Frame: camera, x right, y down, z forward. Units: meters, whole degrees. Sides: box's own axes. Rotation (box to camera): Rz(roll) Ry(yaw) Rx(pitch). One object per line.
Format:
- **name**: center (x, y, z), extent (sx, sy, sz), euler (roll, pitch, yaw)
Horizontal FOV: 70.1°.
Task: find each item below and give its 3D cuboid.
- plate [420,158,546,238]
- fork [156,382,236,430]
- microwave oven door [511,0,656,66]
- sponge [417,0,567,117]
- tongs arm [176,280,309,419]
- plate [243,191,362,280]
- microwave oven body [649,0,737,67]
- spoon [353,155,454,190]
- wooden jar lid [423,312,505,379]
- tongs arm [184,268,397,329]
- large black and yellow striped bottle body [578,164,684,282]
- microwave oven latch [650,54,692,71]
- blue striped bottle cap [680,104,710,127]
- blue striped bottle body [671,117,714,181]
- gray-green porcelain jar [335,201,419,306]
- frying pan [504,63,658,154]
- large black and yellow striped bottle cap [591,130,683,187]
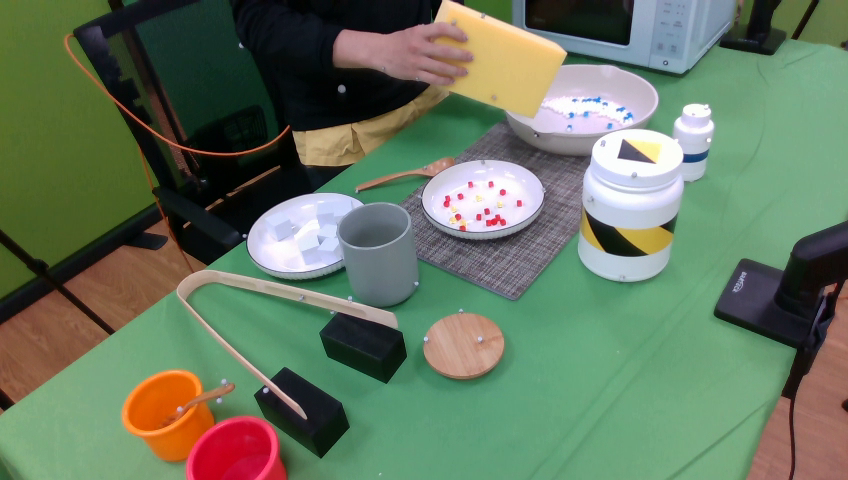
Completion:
- **plate**: center (0.099, -0.067, 1.017), extent (0.209, 0.038, 0.208), euler (-4, 40, 4)
- **fork**: center (-0.262, 0.189, 0.690), extent (0.018, 0.206, 0.028), euler (49, 43, -7)
- **microwave oven door**: center (0.351, -0.539, 1.349), extent (0.353, 0.245, 0.039), euler (24, 50, 31)
- **sponge**: center (0.107, -0.291, 0.975), extent (0.208, 0.118, 0.060), euler (14, 30, -17)
- **tongs arm**: center (-0.254, 0.133, 0.801), extent (0.028, 0.028, 0.384), euler (-41, 40, -23)
- **plate**: center (-0.188, -0.005, 0.992), extent (0.207, 0.039, 0.206), euler (-3, 41, 3)
- **microwave oven body**: center (0.475, -0.602, 1.411), extent (0.438, 0.261, 0.327), euler (23, 50, 32)
- **spoon**: center (-0.038, -0.123, 1.116), extent (0.194, 0.022, 0.041), euler (-12, 59, -4)
- **wooden jar lid**: center (0.053, 0.142, 0.800), extent (0.108, 0.021, 0.108), euler (-5, 39, 4)
- **tongs arm**: center (-0.202, 0.084, 0.848), extent (0.382, 0.027, 0.051), euler (11, 45, 35)
- **large black and yellow striped bottle body**: center (0.291, -0.046, 0.859), extent (0.131, 0.185, 0.130), euler (-4, 41, 4)
- **microwave oven latch**: center (0.531, -0.386, 1.301), extent (0.078, 0.029, 0.030), euler (24, 50, 32)
- **blue striped bottle cap**: center (0.443, -0.205, 0.989), extent (0.044, 0.021, 0.044), euler (-1, 41, 2)
- **blue striped bottle body**: center (0.449, -0.165, 1.022), extent (0.063, 0.121, 0.063), euler (-5, 41, 4)
- **gray-green porcelain jar**: center (-0.064, 0.024, 0.872), extent (0.106, 0.127, 0.105), euler (-4, 41, 4)
- **frying pan**: center (0.216, -0.302, 1.224), extent (0.484, 0.103, 0.308), euler (29, 49, 24)
- **large black and yellow striped bottle cap**: center (0.282, -0.111, 0.803), extent (0.115, 0.019, 0.114), euler (-3, 41, 3)
